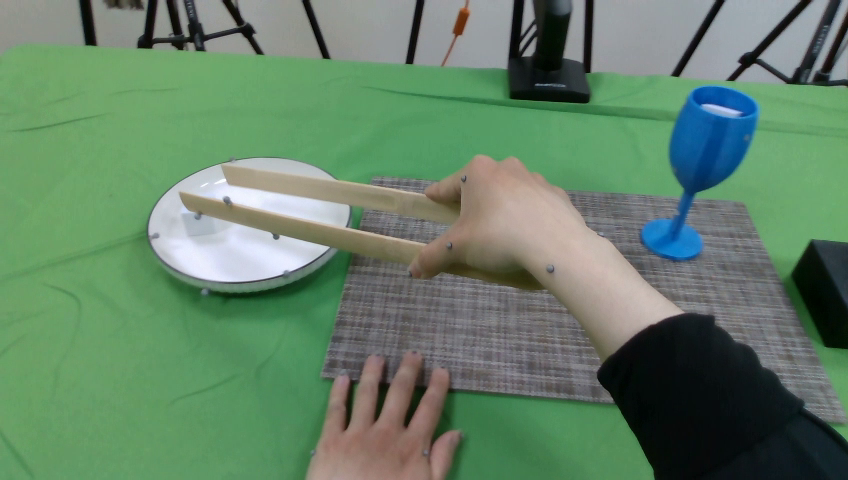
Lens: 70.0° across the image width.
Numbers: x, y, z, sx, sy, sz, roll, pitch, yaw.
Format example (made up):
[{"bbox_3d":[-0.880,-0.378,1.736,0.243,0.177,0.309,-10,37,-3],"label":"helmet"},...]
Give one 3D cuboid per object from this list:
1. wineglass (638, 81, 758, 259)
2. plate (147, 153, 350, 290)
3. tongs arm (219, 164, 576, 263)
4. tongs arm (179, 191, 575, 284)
[{"bbox_3d":[0.273,-0.068,0.615,0.074,0.174,0.073,1,43,-1],"label":"wineglass"},{"bbox_3d":[-0.182,-0.020,0.649,0.209,0.038,0.207,1,43,-1],"label":"plate"},{"bbox_3d":[-0.048,-0.034,0.537,0.385,0.028,0.028,12,37,30],"label":"tongs arm"},{"bbox_3d":[-0.065,-0.014,0.515,0.382,0.027,0.050,13,40,31],"label":"tongs arm"}]
